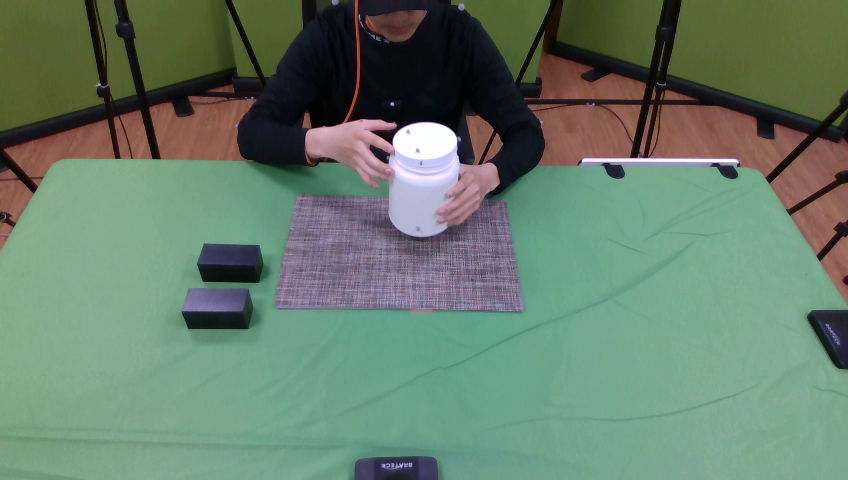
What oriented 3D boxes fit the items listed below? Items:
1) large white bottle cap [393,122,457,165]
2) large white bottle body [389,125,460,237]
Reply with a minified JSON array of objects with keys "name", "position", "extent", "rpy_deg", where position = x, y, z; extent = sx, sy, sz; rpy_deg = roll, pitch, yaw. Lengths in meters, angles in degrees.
[{"name":"large white bottle cap","position":[0.002,-0.171,1.072],"extent":[0.115,0.018,0.114],"rpy_deg":[-1,43,1]},{"name":"large white bottle body","position":[-0.001,-0.111,1.138],"extent":[0.131,0.185,0.130],"rpy_deg":[2,48,-2]}]
